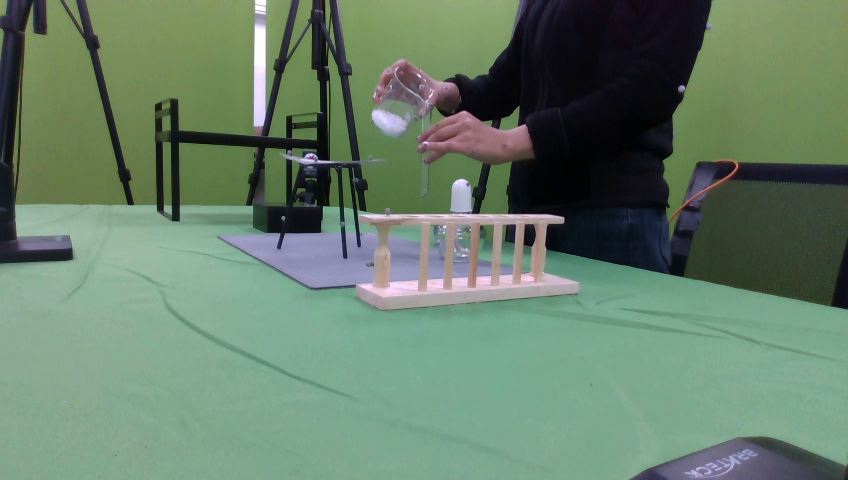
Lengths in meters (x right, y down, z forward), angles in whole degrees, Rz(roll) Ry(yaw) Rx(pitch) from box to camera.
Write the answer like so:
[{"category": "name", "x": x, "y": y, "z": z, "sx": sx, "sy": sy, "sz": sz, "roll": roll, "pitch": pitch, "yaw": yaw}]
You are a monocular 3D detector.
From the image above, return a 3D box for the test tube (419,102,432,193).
[{"category": "test tube", "x": 0.003, "y": -0.153, "z": 1.000, "sx": 0.017, "sy": 0.150, "sz": 0.017, "roll": 2, "pitch": 2, "yaw": 0}]

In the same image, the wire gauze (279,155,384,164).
[{"category": "wire gauze", "x": -0.134, "y": -0.114, "z": 0.875, "sx": 0.122, "sy": 0.011, "sz": 0.124, "roll": -1, "pitch": 8, "yaw": -30}]

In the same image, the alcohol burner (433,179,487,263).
[{"category": "alcohol burner", "x": 0.051, "y": -0.027, "z": 0.863, "sx": 0.078, "sy": 0.119, "sz": 0.078, "roll": 2, "pitch": 6, "yaw": 0}]

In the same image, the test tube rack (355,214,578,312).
[{"category": "test tube rack", "x": 0.053, "y": 0.018, "z": 0.641, "sx": 0.243, "sy": 0.085, "sz": 0.066, "roll": -1, "pitch": 8, "yaw": -29}]

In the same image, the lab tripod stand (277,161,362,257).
[{"category": "lab tripod stand", "x": -0.143, "y": -0.049, "z": 0.884, "sx": 0.148, "sy": 0.131, "sz": 0.148, "roll": 2, "pitch": 9, "yaw": 0}]

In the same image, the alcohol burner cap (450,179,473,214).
[{"category": "alcohol burner cap", "x": 0.053, "y": -0.063, "z": 0.859, "sx": 0.034, "sy": 0.048, "sz": 0.034, "roll": -1, "pitch": 14, "yaw": 0}]

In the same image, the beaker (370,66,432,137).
[{"category": "beaker", "x": -0.041, "y": -0.232, "z": 1.036, "sx": 0.074, "sy": 0.100, "sz": 0.083, "roll": -15, "pitch": 62, "yaw": -48}]
